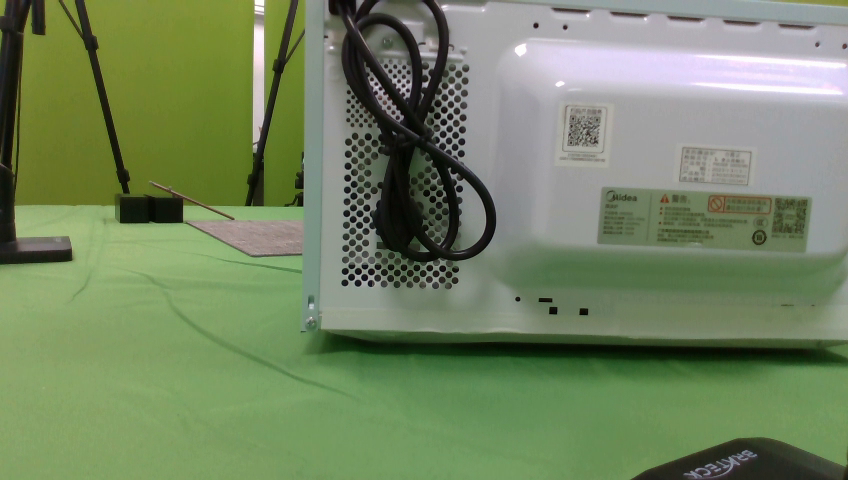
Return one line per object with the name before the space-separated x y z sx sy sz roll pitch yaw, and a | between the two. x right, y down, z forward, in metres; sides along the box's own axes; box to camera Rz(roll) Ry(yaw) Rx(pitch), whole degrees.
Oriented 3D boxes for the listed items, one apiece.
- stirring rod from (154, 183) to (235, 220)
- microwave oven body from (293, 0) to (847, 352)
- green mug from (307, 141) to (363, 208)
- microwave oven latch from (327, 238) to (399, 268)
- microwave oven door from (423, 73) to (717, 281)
stirring rod | -0.472 -0.079 1.252 0.177 0.006 0.014 27 4 -35
microwave oven body | 0.122 -0.055 0.550 0.442 0.260 0.325 3 7 -5
green mug | -0.143 -0.109 1.032 0.092 0.105 0.125 6 4 11
microwave oven latch | -0.069 0.015 0.694 0.079 0.029 0.030 3 7 -3
microwave oven door | 0.171 -0.088 0.777 0.354 0.243 0.039 5 7 23
